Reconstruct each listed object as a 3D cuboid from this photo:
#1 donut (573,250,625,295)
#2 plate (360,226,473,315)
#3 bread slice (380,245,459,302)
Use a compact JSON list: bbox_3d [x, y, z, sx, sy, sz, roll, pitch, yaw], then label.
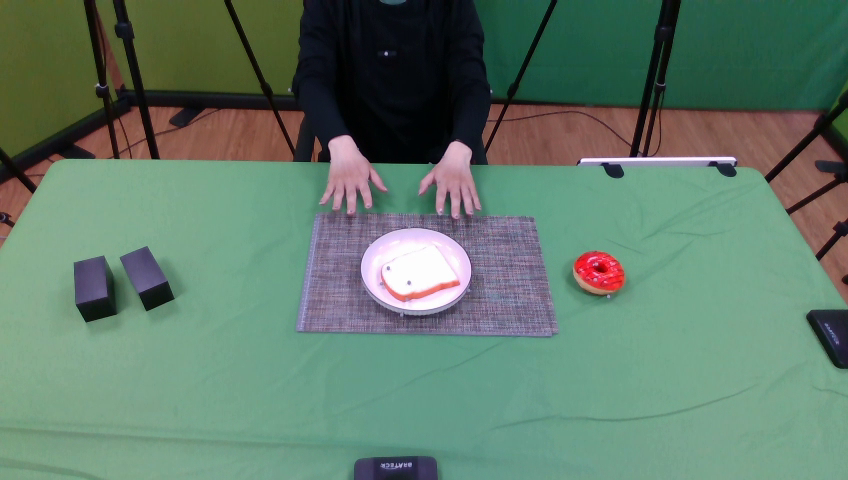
[{"bbox_3d":[0.332,0.062,1.149,0.099,0.048,0.098,4,45,-4],"label":"donut"},{"bbox_3d":[-0.013,0.059,1.124,0.208,0.039,0.206,2,46,-2],"label":"plate"},{"bbox_3d":[-0.014,0.064,1.122,0.132,0.019,0.104,-18,49,-21],"label":"bread slice"}]
